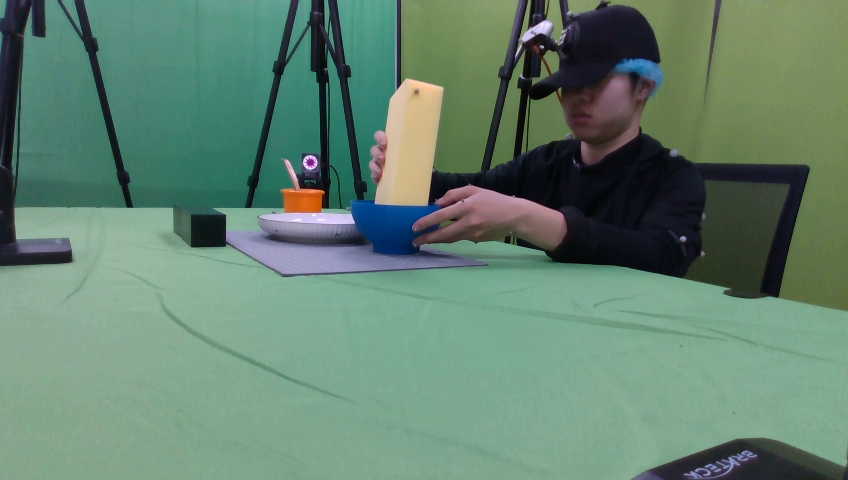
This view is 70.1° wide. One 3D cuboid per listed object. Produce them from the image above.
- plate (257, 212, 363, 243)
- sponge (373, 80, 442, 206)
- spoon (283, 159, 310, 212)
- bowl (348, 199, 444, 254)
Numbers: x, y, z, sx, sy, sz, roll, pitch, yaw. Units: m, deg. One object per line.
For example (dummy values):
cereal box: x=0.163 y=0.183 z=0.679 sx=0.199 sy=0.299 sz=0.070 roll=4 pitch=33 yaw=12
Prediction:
plate: x=-0.189 y=-0.023 z=1.072 sx=0.209 sy=0.038 sz=0.209 roll=3 pitch=7 yaw=0
sponge: x=-0.030 y=-0.129 z=0.944 sx=0.061 sy=0.206 sz=0.118 roll=9 pitch=-3 yaw=-14
spoon: x=-0.279 y=-0.111 z=1.324 sx=0.042 sy=0.193 sz=0.021 roll=3 pitch=-39 yaw=-35
bowl: x=-0.045 y=-0.021 z=0.947 sx=0.151 sy=0.077 sz=0.151 roll=3 pitch=7 yaw=0
